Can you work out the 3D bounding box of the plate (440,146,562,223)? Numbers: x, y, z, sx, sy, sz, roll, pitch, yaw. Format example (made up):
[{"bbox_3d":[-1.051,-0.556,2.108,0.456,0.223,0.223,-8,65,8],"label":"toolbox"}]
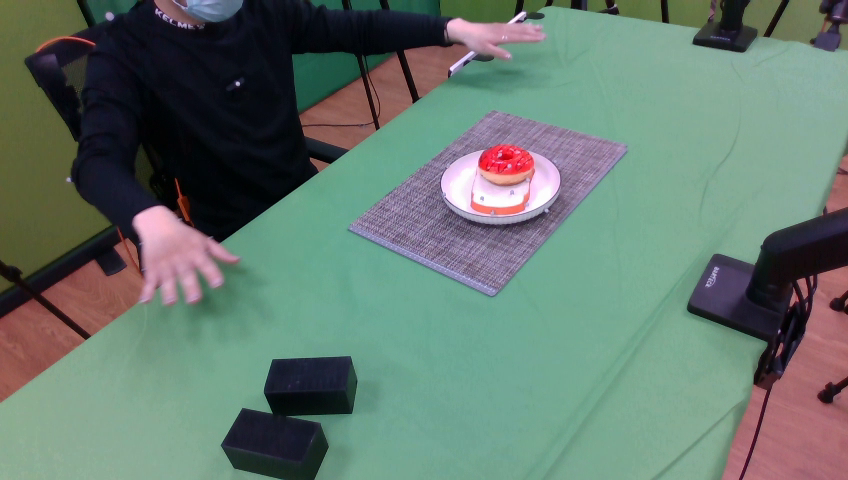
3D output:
[{"bbox_3d":[0.131,-0.093,1.040,0.207,0.039,0.206,-4,41,4],"label":"plate"}]

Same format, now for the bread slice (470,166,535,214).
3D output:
[{"bbox_3d":[0.134,-0.089,1.039,0.104,0.019,0.131,4,40,12],"label":"bread slice"}]

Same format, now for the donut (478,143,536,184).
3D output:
[{"bbox_3d":[0.142,-0.132,1.040,0.099,0.048,0.098,-4,37,3],"label":"donut"}]
